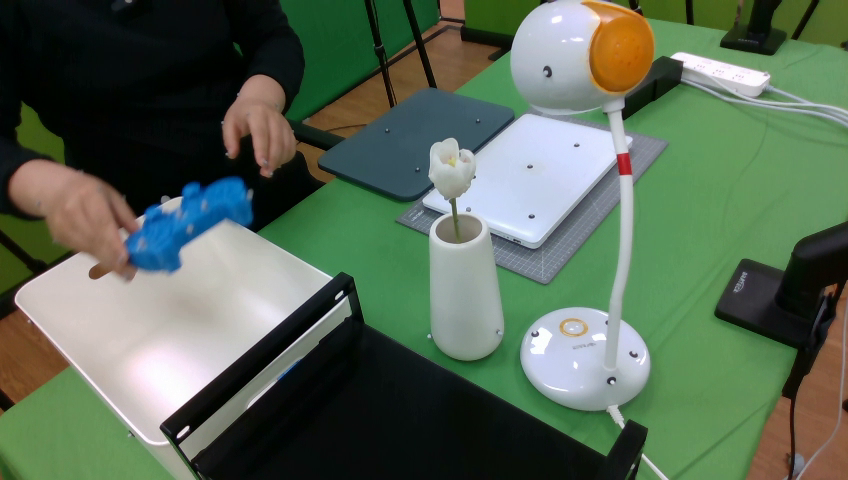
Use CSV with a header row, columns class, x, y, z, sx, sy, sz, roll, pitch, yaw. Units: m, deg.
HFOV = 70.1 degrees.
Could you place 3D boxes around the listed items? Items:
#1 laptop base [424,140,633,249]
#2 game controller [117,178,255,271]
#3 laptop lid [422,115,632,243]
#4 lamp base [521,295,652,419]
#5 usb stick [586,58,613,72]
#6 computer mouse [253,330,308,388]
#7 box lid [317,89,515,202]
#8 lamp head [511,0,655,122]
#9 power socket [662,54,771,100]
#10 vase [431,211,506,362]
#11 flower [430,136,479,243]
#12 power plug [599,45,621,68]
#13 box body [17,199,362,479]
class,x,y,z,sx,sy,sz,roll,pitch,yaw
laptop base,0.194,-0.117,1.087,0.233,0.023,0.355,21,47,34
game controller,-0.265,-0.025,0.680,0.096,0.052,0.155,20,48,37
laptop lid,0.190,-0.126,1.081,0.239,0.013,0.358,23,48,34
lamp base,0.201,0.095,0.710,0.161,0.181,0.177,-16,43,-10
usb stick,0.401,-0.399,1.380,0.059,0.027,0.021,1,48,20
computer mouse,-0.168,0.161,0.790,0.116,0.041,0.063,30,50,28
box lid,-0.009,-0.207,1.236,0.261,0.015,0.372,23,49,32
lamp head,0.155,-0.168,0.563,0.113,0.113,0.122,-18,23,-12
power socket,0.615,-0.348,1.284,0.072,0.033,0.225,-36,48,-29
vase,0.054,0.062,0.757,0.098,0.201,0.097,-3,40,3
flower,0.041,0.011,0.691,0.044,0.363,0.038,16,63,14
power plug,0.436,-0.422,1.412,0.053,0.035,0.072,-16,75,-48
box body,-0.285,0.123,0.766,0.361,0.161,0.255,25,49,33
